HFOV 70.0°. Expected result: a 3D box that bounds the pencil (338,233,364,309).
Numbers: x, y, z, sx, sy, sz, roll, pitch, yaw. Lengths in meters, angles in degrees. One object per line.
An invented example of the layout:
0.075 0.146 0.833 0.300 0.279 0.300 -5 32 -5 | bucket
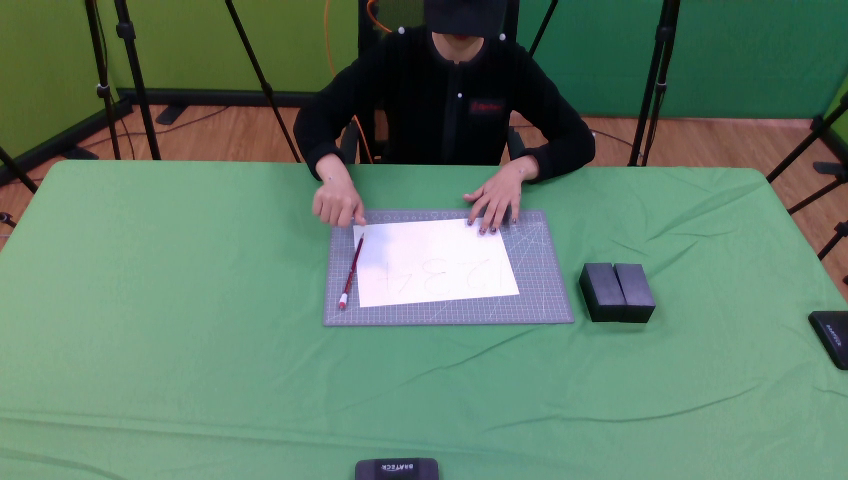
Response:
-0.135 0.053 1.142 0.012 0.012 0.193 8 45 4 | pencil
